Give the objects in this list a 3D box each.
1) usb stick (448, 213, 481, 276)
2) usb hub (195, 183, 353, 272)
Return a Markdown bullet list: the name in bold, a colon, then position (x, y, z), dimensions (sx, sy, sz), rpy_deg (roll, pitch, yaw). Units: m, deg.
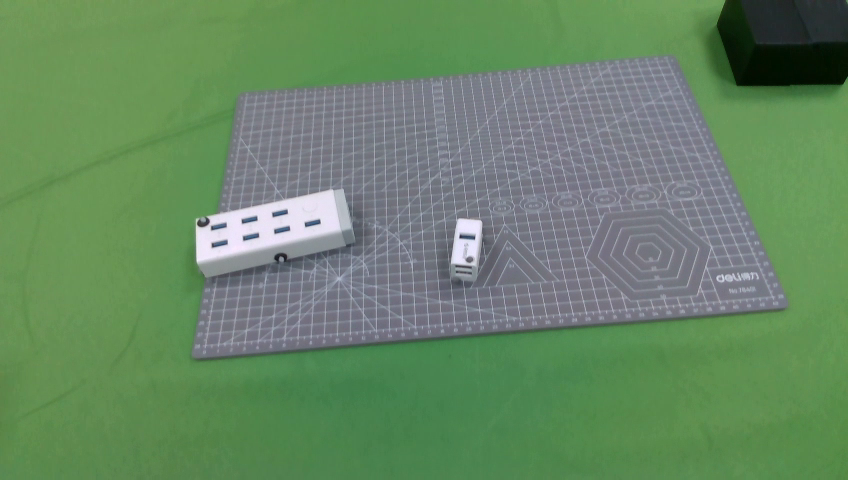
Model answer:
- **usb stick**: position (0.034, -0.002, 0.487), dimensions (0.021, 0.027, 0.058), rpy_deg (5, 53, 10)
- **usb hub**: position (-0.125, -0.012, 0.506), dimensions (0.125, 0.025, 0.049), rpy_deg (-13, 55, -5)
